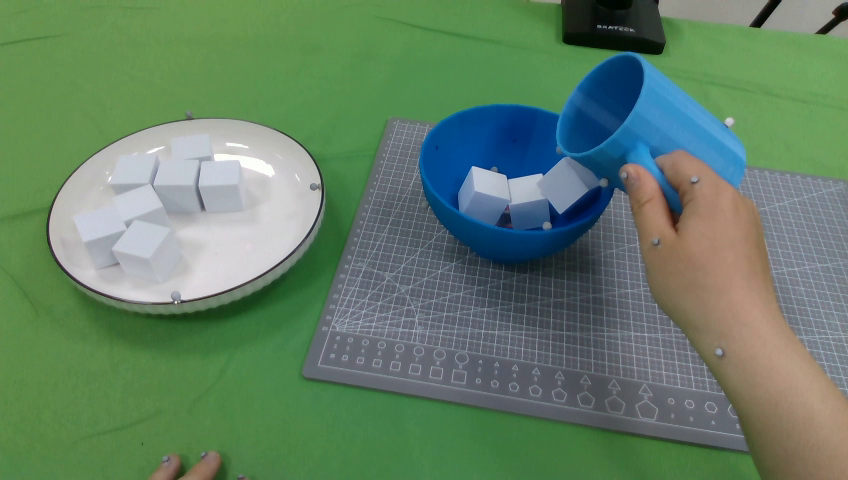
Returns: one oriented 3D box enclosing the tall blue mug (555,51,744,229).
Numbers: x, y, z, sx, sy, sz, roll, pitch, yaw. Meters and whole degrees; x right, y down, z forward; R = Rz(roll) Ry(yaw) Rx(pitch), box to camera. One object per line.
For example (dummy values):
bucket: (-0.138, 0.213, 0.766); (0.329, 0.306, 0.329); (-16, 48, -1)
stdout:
tall blue mug: (0.161, -0.063, 0.408); (0.109, 0.078, 0.106); (27, 9, -26)

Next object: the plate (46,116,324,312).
plate: (-0.185, -0.024, 0.490); (0.209, 0.038, 0.207); (3, 48, -2)

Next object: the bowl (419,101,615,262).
bowl: (0.069, -0.035, 0.487); (0.151, 0.077, 0.150); (2, 48, -2)
